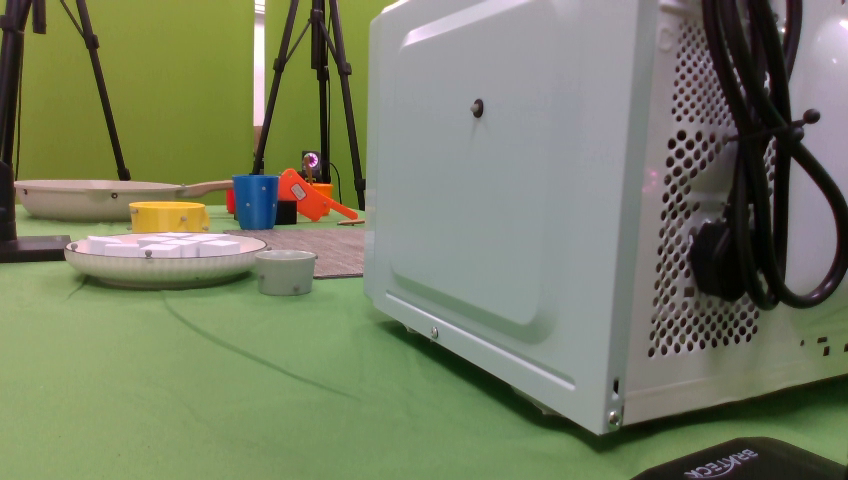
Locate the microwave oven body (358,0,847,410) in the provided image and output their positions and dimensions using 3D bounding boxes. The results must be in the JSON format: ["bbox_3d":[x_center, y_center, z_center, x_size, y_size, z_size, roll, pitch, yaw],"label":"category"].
[{"bbox_3d":[0.210,-0.051,0.472,0.444,0.260,0.324,-1,7,-28],"label":"microwave oven body"}]

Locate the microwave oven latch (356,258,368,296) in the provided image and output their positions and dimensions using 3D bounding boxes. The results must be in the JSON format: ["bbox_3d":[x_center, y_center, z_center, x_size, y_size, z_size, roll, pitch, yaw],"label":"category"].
[{"bbox_3d":[-0.019,0.031,0.528,0.079,0.029,0.030,-1,7,-24],"label":"microwave oven latch"}]

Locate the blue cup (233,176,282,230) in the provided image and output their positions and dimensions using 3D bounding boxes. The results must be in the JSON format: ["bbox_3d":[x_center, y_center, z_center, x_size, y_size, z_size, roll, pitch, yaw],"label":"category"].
[{"bbox_3d":[-0.314,-0.071,1.141,0.093,0.100,0.092,0,7,0],"label":"blue cup"}]

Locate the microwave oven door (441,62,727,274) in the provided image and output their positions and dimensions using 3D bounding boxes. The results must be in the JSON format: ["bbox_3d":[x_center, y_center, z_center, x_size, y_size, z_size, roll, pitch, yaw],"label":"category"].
[{"bbox_3d":[0.187,-0.097,0.784,0.354,0.243,0.039,6,9,30],"label":"microwave oven door"}]

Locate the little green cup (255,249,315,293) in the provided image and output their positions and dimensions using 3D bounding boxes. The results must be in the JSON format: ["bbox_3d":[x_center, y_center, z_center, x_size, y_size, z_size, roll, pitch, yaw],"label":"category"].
[{"bbox_3d":[-0.144,0.031,0.627,0.061,0.038,0.061,2,6,0],"label":"little green cup"}]

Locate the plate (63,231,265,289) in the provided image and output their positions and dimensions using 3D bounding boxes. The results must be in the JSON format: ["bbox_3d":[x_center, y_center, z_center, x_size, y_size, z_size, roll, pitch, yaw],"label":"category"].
[{"bbox_3d":[-0.288,0.021,0.687,0.208,0.039,0.207,2,8,0],"label":"plate"}]

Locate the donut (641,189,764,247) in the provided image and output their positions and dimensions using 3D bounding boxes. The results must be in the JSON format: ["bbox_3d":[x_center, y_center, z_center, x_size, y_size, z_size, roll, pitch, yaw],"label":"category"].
[{"bbox_3d":[0.237,-0.018,0.520,0.099,0.048,0.099,5,6,0],"label":"donut"}]

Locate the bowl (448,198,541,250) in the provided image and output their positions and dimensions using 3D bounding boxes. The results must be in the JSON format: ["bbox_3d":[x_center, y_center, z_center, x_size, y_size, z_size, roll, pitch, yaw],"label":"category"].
[{"bbox_3d":[0.113,-0.026,0.984,0.151,0.077,0.151,1,6,0],"label":"bowl"}]

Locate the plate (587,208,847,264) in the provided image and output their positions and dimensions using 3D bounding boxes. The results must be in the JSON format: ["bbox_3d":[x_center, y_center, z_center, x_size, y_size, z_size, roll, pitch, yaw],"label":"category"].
[{"bbox_3d":[0.244,-0.006,0.509,0.209,0.038,0.209,2,4,0],"label":"plate"}]

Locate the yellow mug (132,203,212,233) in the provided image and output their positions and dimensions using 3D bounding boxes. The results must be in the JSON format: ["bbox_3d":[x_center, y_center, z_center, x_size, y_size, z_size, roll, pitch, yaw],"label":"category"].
[{"bbox_3d":[-0.356,-0.020,0.878,0.099,0.064,0.131,5,7,22],"label":"yellow mug"}]

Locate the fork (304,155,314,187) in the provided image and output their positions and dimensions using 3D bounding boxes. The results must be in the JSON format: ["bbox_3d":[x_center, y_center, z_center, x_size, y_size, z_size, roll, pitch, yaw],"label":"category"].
[{"bbox_3d":[-0.268,-0.134,1.447,0.028,0.018,0.207,2,-36,-1],"label":"fork"}]

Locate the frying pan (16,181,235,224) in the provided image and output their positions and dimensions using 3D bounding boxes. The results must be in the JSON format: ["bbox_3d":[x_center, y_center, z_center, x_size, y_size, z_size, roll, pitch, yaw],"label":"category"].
[{"bbox_3d":[-0.553,-0.097,1.266,0.490,0.102,0.305,-10,13,-24],"label":"frying pan"}]

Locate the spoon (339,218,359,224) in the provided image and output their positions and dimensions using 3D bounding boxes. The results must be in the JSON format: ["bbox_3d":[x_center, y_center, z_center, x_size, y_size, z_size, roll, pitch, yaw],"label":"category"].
[{"bbox_3d":[-0.087,-0.041,1.268,0.193,0.021,0.041,3,18,14],"label":"spoon"}]

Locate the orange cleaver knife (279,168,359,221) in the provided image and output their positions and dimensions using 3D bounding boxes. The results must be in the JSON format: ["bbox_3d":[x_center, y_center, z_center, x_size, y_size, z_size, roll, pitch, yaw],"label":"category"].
[{"bbox_3d":[-0.236,-0.084,1.333,0.212,0.077,0.012,31,-9,-32],"label":"orange cleaver knife"}]
